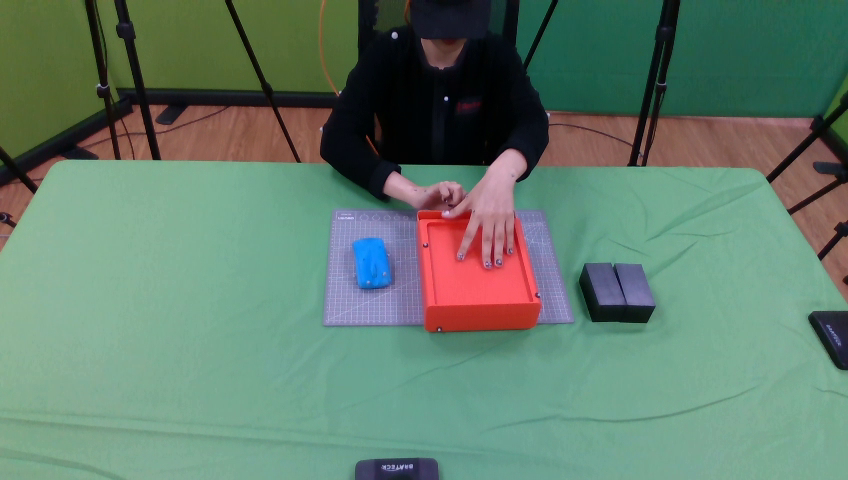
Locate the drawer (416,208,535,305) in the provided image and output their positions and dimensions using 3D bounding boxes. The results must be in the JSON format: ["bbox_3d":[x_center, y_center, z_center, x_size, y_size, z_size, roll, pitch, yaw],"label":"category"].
[{"bbox_3d":[0.089,0.037,1.125,0.195,0.073,0.210,-1,47,-6],"label":"drawer"}]

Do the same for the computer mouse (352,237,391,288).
[{"bbox_3d":[-0.100,0.039,1.140,0.063,0.041,0.116,-5,51,-11],"label":"computer mouse"}]

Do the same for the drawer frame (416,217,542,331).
[{"bbox_3d":[0.093,0.056,1.106,0.202,0.083,0.212,-1,47,-6],"label":"drawer frame"}]
